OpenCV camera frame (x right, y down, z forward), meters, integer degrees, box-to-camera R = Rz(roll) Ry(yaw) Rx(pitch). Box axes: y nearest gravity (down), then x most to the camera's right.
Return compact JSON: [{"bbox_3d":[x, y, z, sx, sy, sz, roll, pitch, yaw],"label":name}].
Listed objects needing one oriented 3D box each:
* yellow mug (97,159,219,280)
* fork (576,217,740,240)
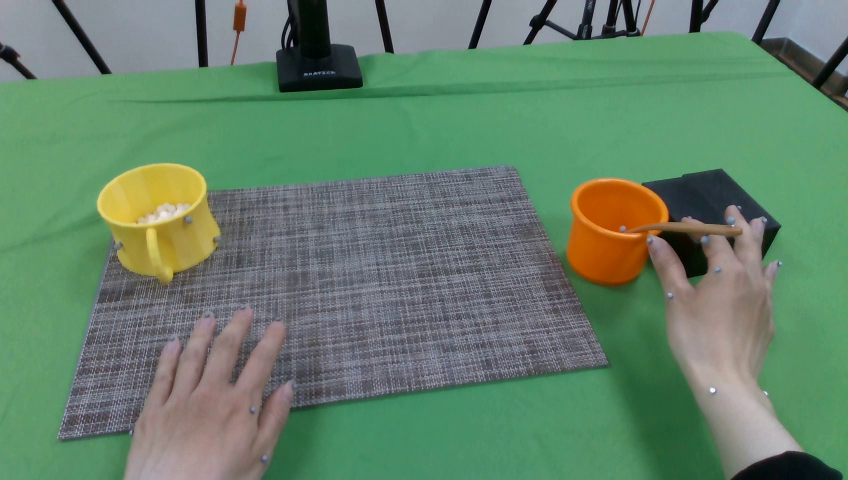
[{"bbox_3d":[-0.258,-0.016,0.594,0.100,0.064,0.129,-10,45,-14],"label":"yellow mug"},{"bbox_3d":[0.203,-0.010,0.552,0.028,0.018,0.206,-6,-1,-18],"label":"fork"}]
